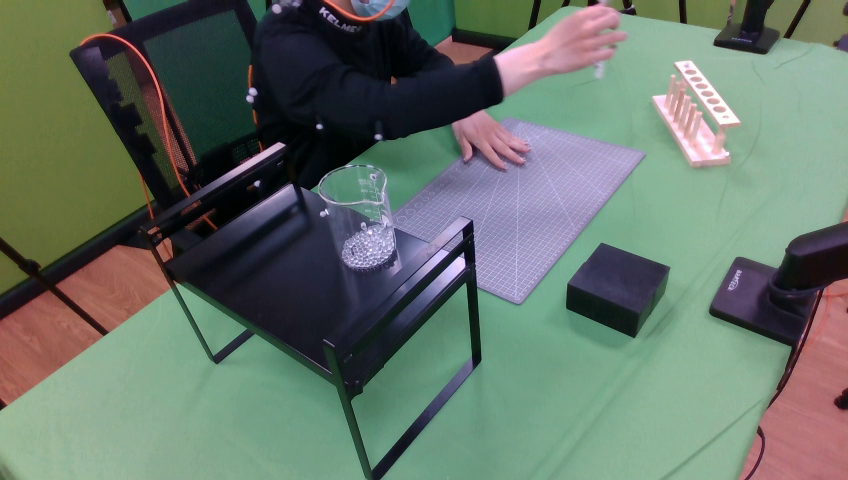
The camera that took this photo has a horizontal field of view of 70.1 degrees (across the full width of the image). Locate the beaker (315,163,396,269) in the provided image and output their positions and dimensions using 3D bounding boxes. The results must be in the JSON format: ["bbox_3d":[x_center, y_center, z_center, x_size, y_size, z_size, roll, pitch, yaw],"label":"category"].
[{"bbox_3d":[-0.069,-0.024,0.671,0.083,0.101,0.074,27,52,33],"label":"beaker"}]

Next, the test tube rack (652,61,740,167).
[{"bbox_3d":[0.499,-0.242,1.130,0.067,0.085,0.241,-5,41,3],"label":"test tube rack"}]

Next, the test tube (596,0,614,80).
[{"bbox_3d":[0.305,-0.337,1.021,0.017,0.151,0.017,-4,48,6],"label":"test tube"}]
